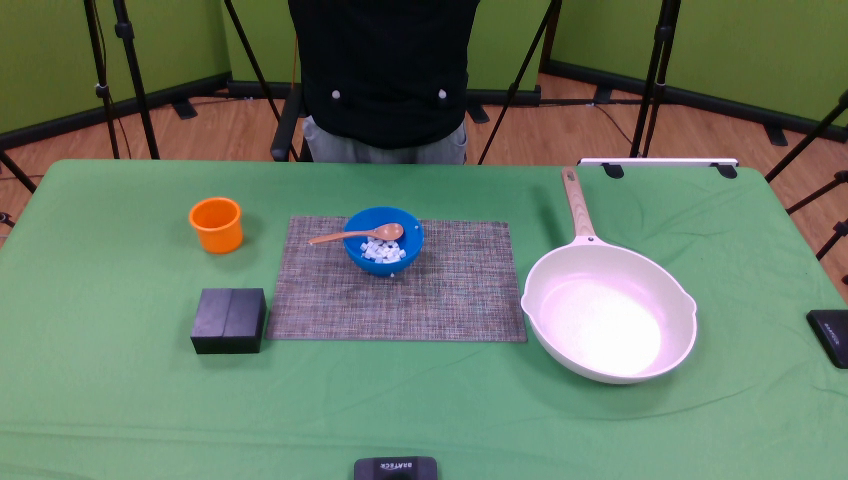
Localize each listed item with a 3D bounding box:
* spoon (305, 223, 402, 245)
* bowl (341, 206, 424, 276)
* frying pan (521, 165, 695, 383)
[{"bbox_3d":[-0.126,-0.010,1.109,0.194,0.022,0.041,-5,50,-35],"label":"spoon"},{"bbox_3d":[-0.079,0.014,1.133,0.151,0.077,0.150,2,46,-2],"label":"bowl"},{"bbox_3d":[0.312,0.044,1.123,0.307,0.103,0.484,1,55,-5],"label":"frying pan"}]
